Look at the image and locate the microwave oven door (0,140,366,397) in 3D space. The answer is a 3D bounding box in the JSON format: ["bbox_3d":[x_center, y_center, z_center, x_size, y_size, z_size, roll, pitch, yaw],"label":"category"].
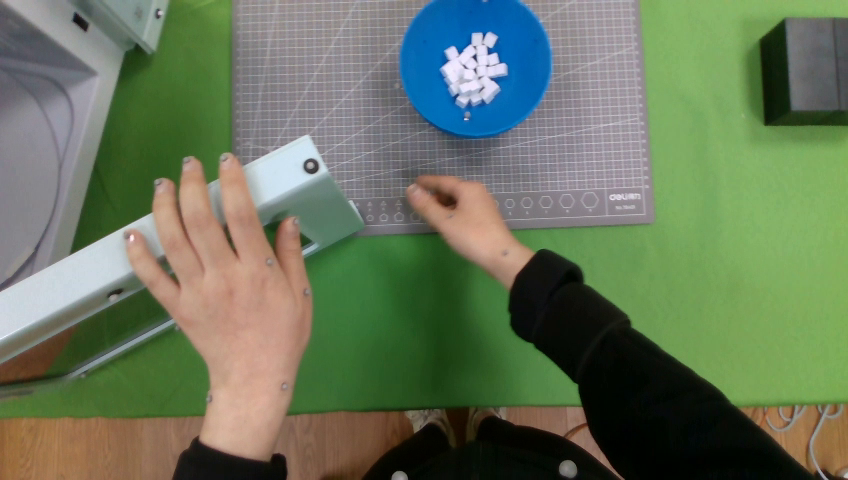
[{"bbox_3d":[-0.224,0.037,0.505,0.356,0.244,0.039,-28,84,-3],"label":"microwave oven door"}]

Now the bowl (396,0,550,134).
[{"bbox_3d":[0.048,-0.174,0.624,0.151,0.077,0.151,0,84,0],"label":"bowl"}]

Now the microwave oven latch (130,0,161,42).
[{"bbox_3d":[-0.294,-0.251,0.635,0.030,0.029,0.079,13,85,1],"label":"microwave oven latch"}]

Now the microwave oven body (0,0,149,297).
[{"bbox_3d":[-0.475,-0.119,0.524,0.326,0.260,0.440,11,85,0],"label":"microwave oven body"}]
